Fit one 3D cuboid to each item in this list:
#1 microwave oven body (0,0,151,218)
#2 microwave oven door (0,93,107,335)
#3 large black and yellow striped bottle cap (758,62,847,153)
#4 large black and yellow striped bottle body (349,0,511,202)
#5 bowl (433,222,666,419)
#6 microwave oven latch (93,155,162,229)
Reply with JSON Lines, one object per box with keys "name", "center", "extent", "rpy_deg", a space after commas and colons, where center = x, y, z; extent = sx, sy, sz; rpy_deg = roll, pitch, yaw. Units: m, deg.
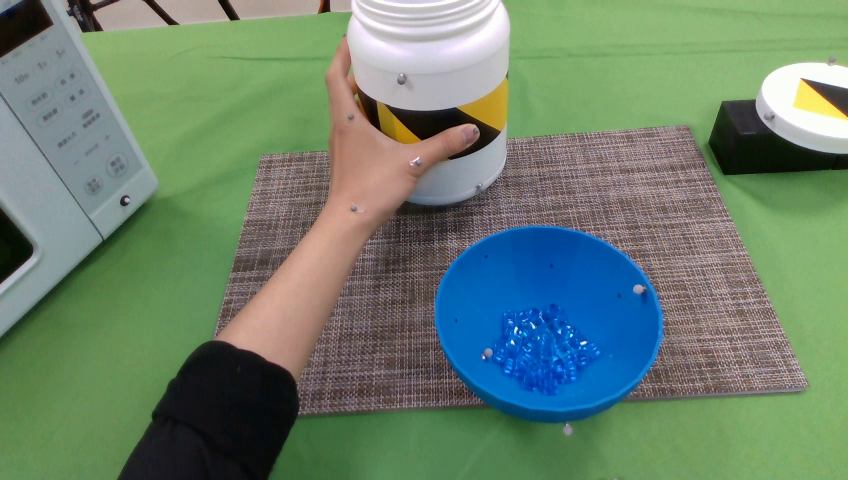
{"name": "microwave oven body", "center": [-0.506, -0.033, 0.454], "extent": [0.324, 0.263, 0.439], "rpy_deg": [19, 54, 20]}
{"name": "microwave oven door", "center": [-0.395, 0.036, 0.377], "extent": [0.039, 0.246, 0.354], "rpy_deg": [18, 53, 21]}
{"name": "large black and yellow striped bottle cap", "center": [0.367, -0.123, 0.549], "extent": [0.115, 0.019, 0.114], "rpy_deg": [-3, 48, 4]}
{"name": "large black and yellow striped bottle body", "center": [0.008, -0.139, 0.518], "extent": [0.131, 0.186, 0.129], "rpy_deg": [-3, 47, 3]}
{"name": "bowl", "center": [0.084, 0.068, 0.432], "extent": [0.151, 0.077, 0.150], "rpy_deg": [-3, 49, 4]}
{"name": "microwave oven latch", "center": [-0.286, -0.049, 0.576], "extent": [0.030, 0.030, 0.079], "rpy_deg": [21, 55, 21]}
